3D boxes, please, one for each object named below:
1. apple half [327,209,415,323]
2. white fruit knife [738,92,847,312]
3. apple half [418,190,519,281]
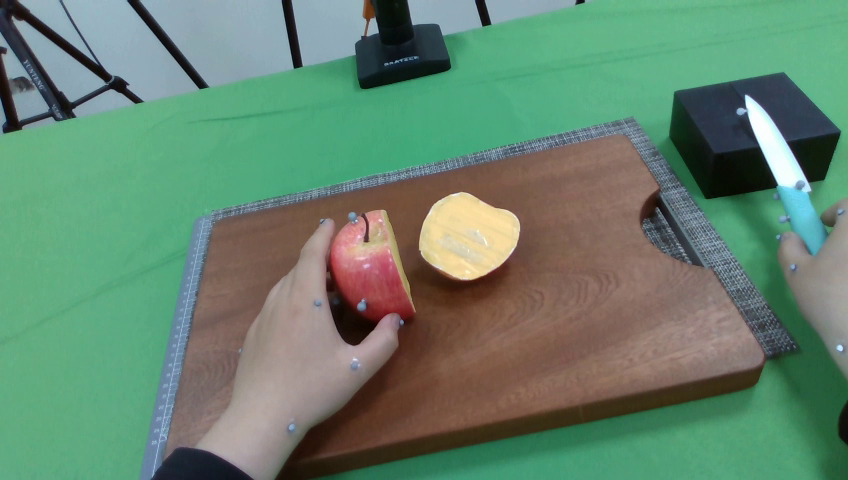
[{"bbox_3d":[-0.042,0.024,0.447,0.053,0.075,0.080,-19,47,1],"label":"apple half"},{"bbox_3d":[0.285,-0.037,0.469,0.027,0.016,0.205,-10,61,3],"label":"white fruit knife"},{"bbox_3d":[0.034,0.003,0.479,0.081,0.033,0.080,-3,60,6],"label":"apple half"}]
